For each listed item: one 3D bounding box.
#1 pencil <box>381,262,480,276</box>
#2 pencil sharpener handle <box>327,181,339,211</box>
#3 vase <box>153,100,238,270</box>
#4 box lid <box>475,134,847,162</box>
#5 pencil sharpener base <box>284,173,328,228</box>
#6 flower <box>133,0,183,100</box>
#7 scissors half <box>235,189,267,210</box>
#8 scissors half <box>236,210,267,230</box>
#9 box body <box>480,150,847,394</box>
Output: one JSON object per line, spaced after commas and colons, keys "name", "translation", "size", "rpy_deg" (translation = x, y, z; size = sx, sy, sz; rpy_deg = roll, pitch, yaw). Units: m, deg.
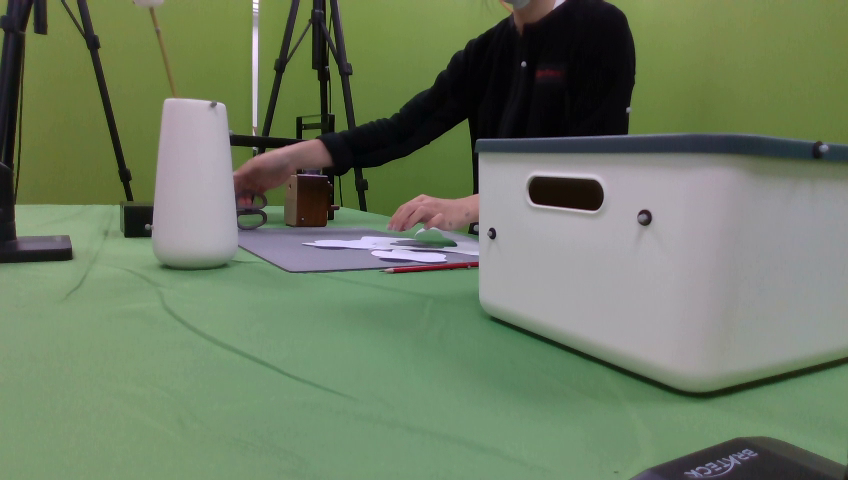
{"name": "pencil", "translation": [0.030, 0.037, 0.794], "size": [0.195, 0.012, 0.012], "rpy_deg": [-3, 10, -30]}
{"name": "pencil sharpener handle", "translation": [-0.194, -0.094, 1.256], "size": [0.031, 0.067, 0.036], "rpy_deg": [-2, -6, -36]}
{"name": "vase", "translation": [-0.278, -0.066, 0.736], "size": [0.098, 0.200, 0.098], "rpy_deg": [2, 9, 0]}
{"name": "box lid", "translation": [0.256, -0.073, 0.528], "size": [0.373, 0.015, 0.262], "rpy_deg": [-2, 8, -31]}
{"name": "pencil sharpener base", "translation": [-0.239, -0.081, 1.231], "size": [0.077, 0.107, 0.061], "rpy_deg": [-2, 8, -36]}
{"name": "flower", "translation": [-0.282, -0.147, 0.713], "size": [0.038, 0.362, 0.044], "rpy_deg": [-23, 24, -31]}
{"name": "scissors half", "translation": [-0.365, -0.062, 1.067], "size": [0.176, 0.040, 0.013], "rpy_deg": [-12, 15, -27]}
{"name": "scissors half", "translation": [-0.367, -0.043, 1.071], "size": [0.176, 0.040, 0.012], "rpy_deg": [7, 11, -30]}
{"name": "box body", "translation": [0.254, 0.002, 0.539], "size": [0.366, 0.160, 0.253], "rpy_deg": [-2, 8, -31]}
